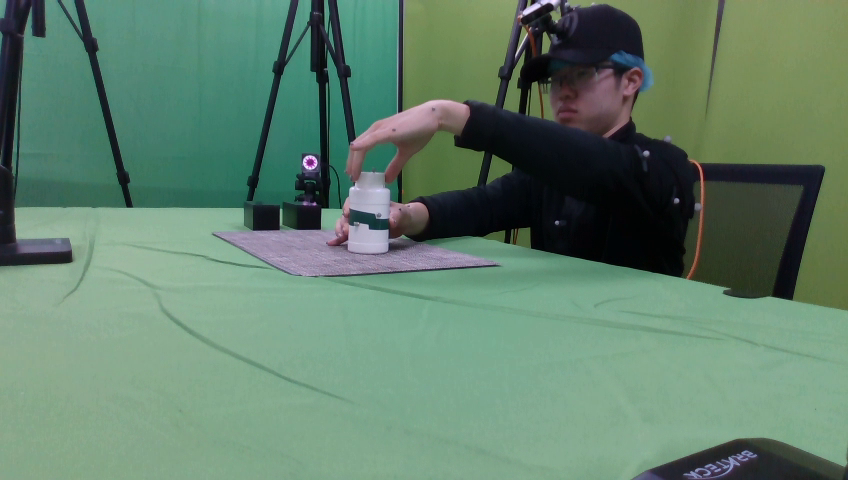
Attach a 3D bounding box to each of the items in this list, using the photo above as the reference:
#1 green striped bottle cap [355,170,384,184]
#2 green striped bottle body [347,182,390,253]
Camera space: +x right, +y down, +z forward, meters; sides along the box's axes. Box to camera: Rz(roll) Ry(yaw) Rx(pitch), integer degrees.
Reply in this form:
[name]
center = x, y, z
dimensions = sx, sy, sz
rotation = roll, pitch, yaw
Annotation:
[green striped bottle cap]
center = -0.081, -0.094, 0.907
dimensions = 0.044, 0.020, 0.044
rotation = 4, 8, 0
[green striped bottle body]
center = -0.083, -0.042, 0.913
dimensions = 0.063, 0.119, 0.063
rotation = 3, 7, 0
